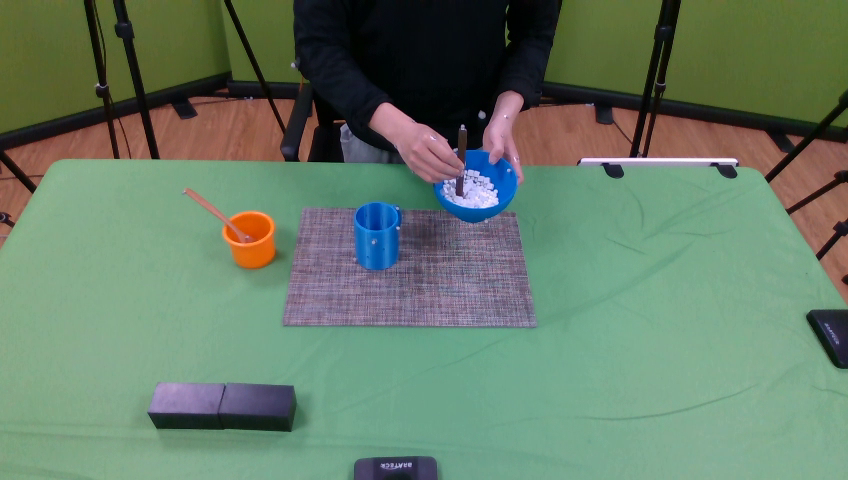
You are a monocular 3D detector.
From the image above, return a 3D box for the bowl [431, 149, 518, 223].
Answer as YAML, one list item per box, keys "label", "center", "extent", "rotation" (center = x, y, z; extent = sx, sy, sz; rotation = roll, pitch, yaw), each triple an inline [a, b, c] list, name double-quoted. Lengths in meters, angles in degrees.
- label: "bowl"
  center: [0.087, -0.084, 1.078]
  extent: [0.151, 0.077, 0.150]
  rotation: [0, 50, 0]

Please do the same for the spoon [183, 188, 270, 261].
- label: "spoon"
  center: [-0.360, -0.029, 1.110]
  extent: [0.021, 0.194, 0.041]
  rotation: [-21, 31, 41]

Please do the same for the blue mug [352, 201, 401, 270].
- label: "blue mug"
  center: [-0.082, -0.017, 1.144]
  extent: [0.082, 0.106, 0.116]
  rotation: [30, 51, 22]

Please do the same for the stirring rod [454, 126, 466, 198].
- label: "stirring rod"
  center: [0.060, -0.127, 1.021]
  extent: [0.014, 0.177, 0.006]
  rotation: [10, 57, 7]
